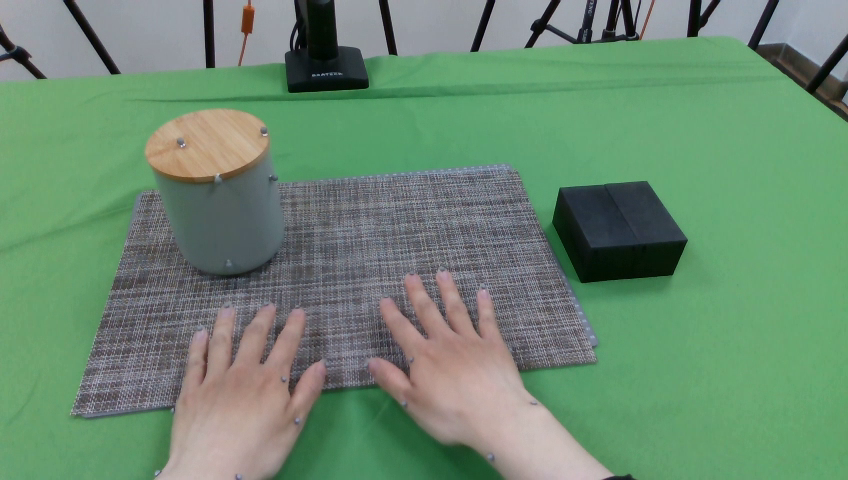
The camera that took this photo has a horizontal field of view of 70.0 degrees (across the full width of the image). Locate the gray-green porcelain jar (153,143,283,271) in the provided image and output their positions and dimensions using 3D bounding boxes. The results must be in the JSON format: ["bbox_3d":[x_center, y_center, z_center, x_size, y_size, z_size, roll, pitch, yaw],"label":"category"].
[{"bbox_3d":[-0.198,-0.041,0.599,0.106,0.127,0.105,1,43,-1],"label":"gray-green porcelain jar"}]

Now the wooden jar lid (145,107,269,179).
[{"bbox_3d":[-0.197,-0.086,0.557,0.108,0.021,0.107,2,45,-2],"label":"wooden jar lid"}]
